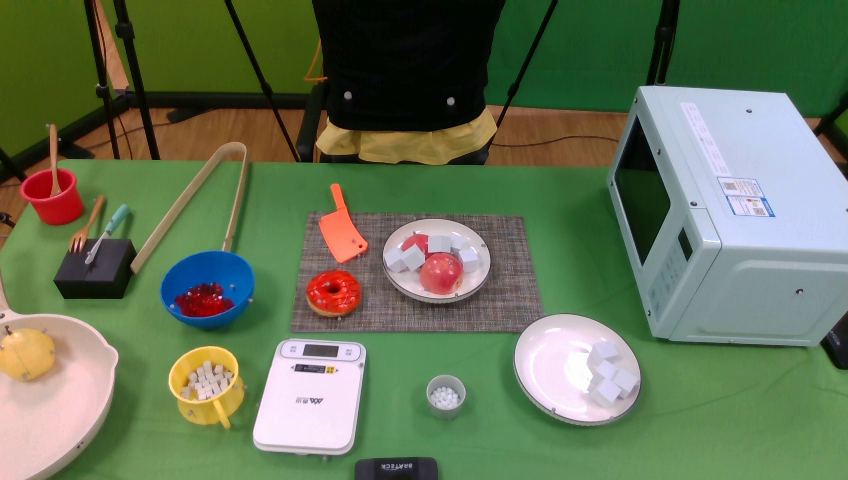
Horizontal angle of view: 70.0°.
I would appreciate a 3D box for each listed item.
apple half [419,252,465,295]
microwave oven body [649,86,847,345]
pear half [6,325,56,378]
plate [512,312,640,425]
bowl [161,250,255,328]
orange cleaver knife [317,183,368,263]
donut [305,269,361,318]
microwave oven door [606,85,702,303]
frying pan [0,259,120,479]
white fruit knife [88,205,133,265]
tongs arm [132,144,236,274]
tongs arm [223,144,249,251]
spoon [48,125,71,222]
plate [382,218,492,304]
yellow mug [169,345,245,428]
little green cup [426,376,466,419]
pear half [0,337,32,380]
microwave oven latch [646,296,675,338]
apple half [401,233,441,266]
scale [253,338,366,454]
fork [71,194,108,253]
[{"bbox_3d":[0.035,0.055,1.109,0.074,0.053,0.081,38,55,24],"label":"apple half"},{"bbox_3d":[0.568,-0.053,1.118,0.326,0.261,0.439,2,45,-1],"label":"microwave oven body"},{"bbox_3d":[-0.608,0.158,0.935,0.076,0.110,0.056,31,51,20],"label":"pear half"},{"bbox_3d":[0.246,0.213,0.999,0.208,0.039,0.206,2,46,-2],"label":"plate"},{"bbox_3d":[-0.362,0.098,1.039,0.151,0.077,0.150,2,45,-2],"label":"bowl"},{"bbox_3d":[-0.174,-0.037,1.218,0.077,0.012,0.210,-17,51,-11],"label":"orange cleaver knife"},{"bbox_3d":[-0.160,0.094,1.075,0.099,0.048,0.098,4,45,-3],"label":"donut"},{"bbox_3d":[0.423,-0.094,1.140,0.039,0.245,0.353,2,46,-1],"label":"microwave oven door"},{"bbox_3d":[-0.647,0.164,0.936,0.307,0.103,0.485,-19,58,-22],"label":"frying pan"},{"bbox_3d":[-0.583,-0.013,1.129,0.016,0.027,0.206,-1,31,-4],"label":"white fruit knife"},{"bbox_3d":[-0.482,-0.078,1.235,0.028,0.028,0.385,6,45,12],"label":"tongs arm"},{"bbox_3d":[-0.397,-0.073,1.232,0.051,0.026,0.382,-2,45,0],"label":"tongs arm"},{"bbox_3d":[-0.718,-0.131,1.189,0.041,0.021,0.193,-4,90,-6],"label":"spoon"},{"bbox_3d":[0.023,0.042,1.143,0.209,0.038,0.208,2,46,-2],"label":"plate"},{"bbox_3d":[-0.322,0.230,0.922,0.100,0.064,0.130,-24,53,-25],"label":"yellow mug"},{"bbox_3d":[0.033,0.248,0.950,0.061,0.039,0.061,2,46,-2],"label":"little green cup"},{"bbox_3d":[-0.631,0.184,0.921,0.070,0.088,0.031,29,49,19],"label":"pear half"},{"bbox_3d":[0.412,0.134,1.061,0.030,0.029,0.078,4,45,1],"label":"microwave oven latch"},{"bbox_3d":[-0.004,0.013,1.160,0.081,0.033,0.081,5,44,-5],"label":"apple half"},{"bbox_3d":[-0.175,0.236,0.951,0.149,0.032,0.199,5,45,-1],"label":"scale"},{"bbox_3d":[-0.634,-0.036,1.158,0.028,0.019,0.206,-8,32,-8],"label":"fork"}]
